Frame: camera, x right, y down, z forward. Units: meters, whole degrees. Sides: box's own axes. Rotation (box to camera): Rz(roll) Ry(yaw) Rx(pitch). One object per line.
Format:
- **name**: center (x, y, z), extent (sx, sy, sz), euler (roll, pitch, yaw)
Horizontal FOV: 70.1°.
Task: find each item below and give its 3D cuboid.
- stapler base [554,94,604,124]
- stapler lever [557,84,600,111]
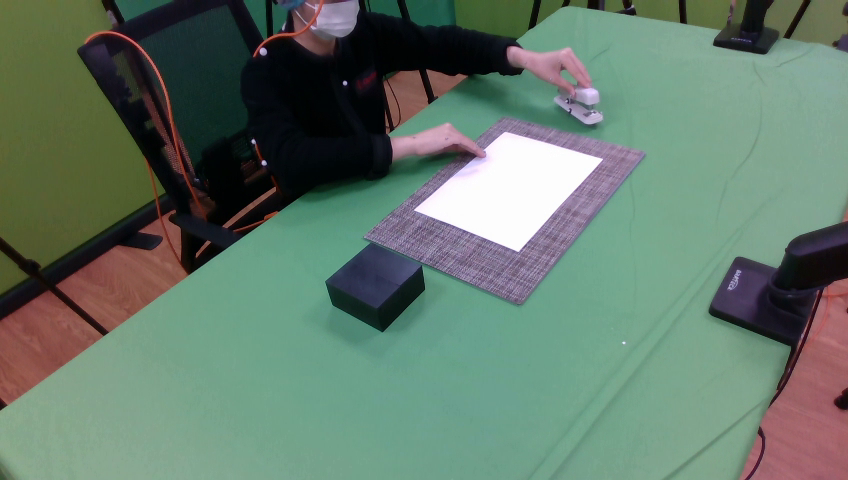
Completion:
- **stapler base**: center (0.313, -0.273, 1.224), extent (0.041, 0.024, 0.129), euler (-19, 38, -14)
- **stapler lever**: center (0.308, -0.294, 1.209), extent (0.027, 0.040, 0.117), euler (-19, 38, -14)
